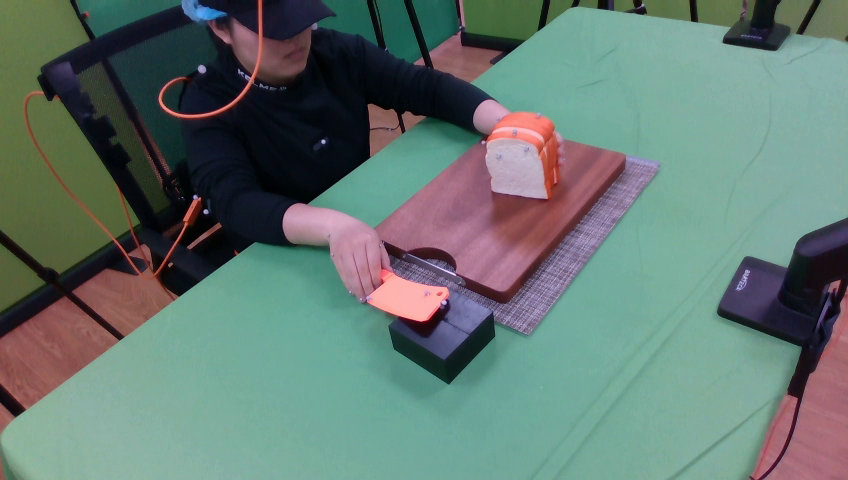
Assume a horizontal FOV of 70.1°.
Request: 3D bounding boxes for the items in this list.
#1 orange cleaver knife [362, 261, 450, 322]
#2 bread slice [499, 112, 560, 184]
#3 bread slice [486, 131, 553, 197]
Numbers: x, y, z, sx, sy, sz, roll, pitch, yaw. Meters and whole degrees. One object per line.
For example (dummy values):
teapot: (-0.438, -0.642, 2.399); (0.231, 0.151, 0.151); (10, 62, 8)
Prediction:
orange cleaver knife: (-0.044, 0.071, 0.868); (0.077, 0.012, 0.209); (-37, 31, -25)
bread slice: (0.174, -0.151, 1.005); (0.106, 0.135, 0.018); (13, 50, 21)
bread slice: (0.149, -0.121, 0.974); (0.104, 0.132, 0.019); (8, 53, 25)
